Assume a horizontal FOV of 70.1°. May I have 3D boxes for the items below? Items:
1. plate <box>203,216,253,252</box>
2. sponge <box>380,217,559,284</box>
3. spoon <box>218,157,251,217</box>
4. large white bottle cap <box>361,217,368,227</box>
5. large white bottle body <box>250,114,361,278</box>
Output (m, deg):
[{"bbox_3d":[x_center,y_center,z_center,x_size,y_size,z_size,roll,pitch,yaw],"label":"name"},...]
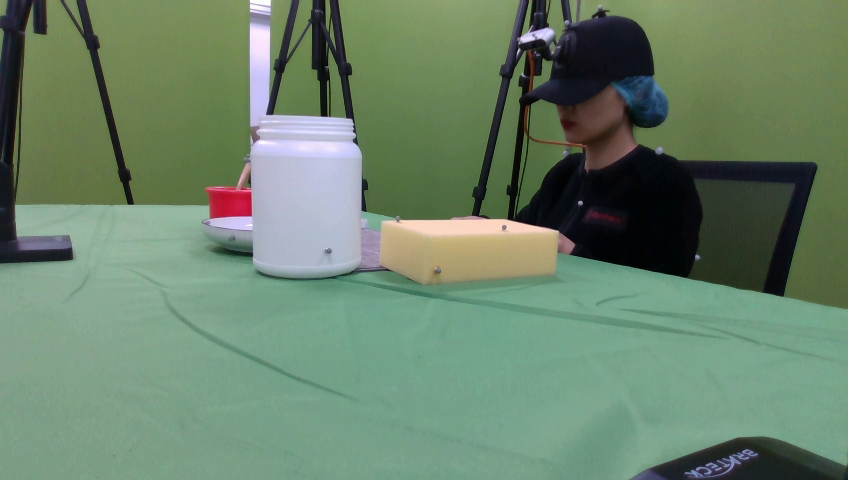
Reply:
[{"bbox_3d":[-0.222,-0.010,0.909,0.209,0.038,0.209,2,7,0],"label":"plate"},{"bbox_3d":[0.059,0.008,0.786,0.208,0.061,0.117,-3,11,-32],"label":"sponge"},{"bbox_3d":[-0.332,-0.091,1.092,0.041,0.021,0.193,3,51,5],"label":"spoon"},{"bbox_3d":[-0.171,-0.037,1.234,0.115,0.018,0.115,2,5,0],"label":"large white bottle cap"},{"bbox_3d":[-0.140,-0.057,0.727,0.131,0.184,0.130,1,10,0],"label":"large white bottle body"}]
